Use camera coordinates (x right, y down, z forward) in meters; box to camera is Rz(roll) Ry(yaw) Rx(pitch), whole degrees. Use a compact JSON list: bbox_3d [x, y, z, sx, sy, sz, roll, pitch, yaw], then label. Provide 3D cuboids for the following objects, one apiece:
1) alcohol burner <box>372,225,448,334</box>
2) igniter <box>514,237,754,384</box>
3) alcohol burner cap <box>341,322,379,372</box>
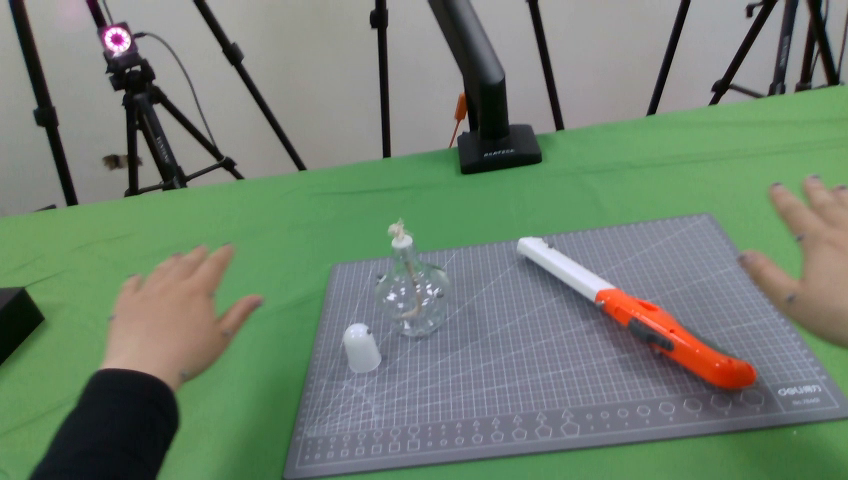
[{"bbox_3d":[-0.016,0.035,0.598,0.078,0.120,0.077,-6,35,5],"label":"alcohol burner"},{"bbox_3d":[0.182,0.057,0.581,0.057,0.025,0.273,-3,24,-31],"label":"igniter"},{"bbox_3d":[-0.063,0.099,0.581,0.034,0.048,0.033,-7,34,5],"label":"alcohol burner cap"}]
